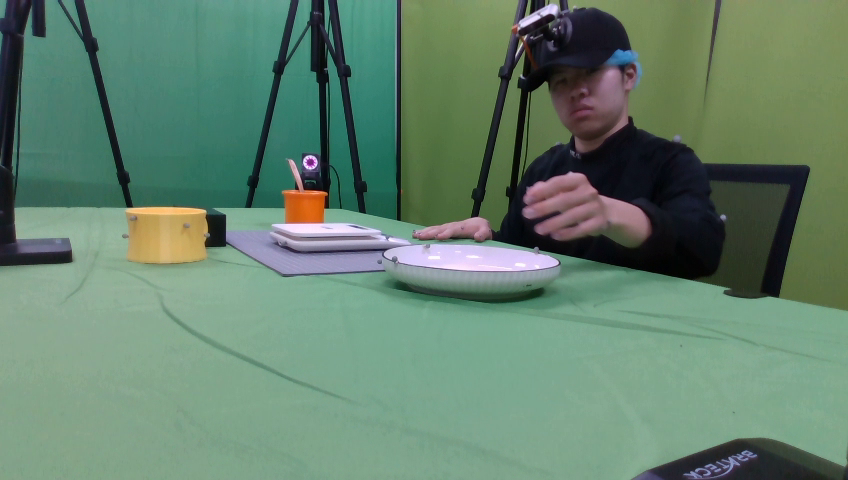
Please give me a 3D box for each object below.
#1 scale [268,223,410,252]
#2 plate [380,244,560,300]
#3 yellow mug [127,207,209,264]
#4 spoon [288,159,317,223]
[{"bbox_3d":[-0.137,-0.006,0.980,0.202,0.031,0.148,-1,8,-30],"label":"scale"},{"bbox_3d":[0.053,0.037,0.708,0.209,0.038,0.209,2,7,0],"label":"plate"},{"bbox_3d":[-0.339,-0.009,0.827,0.100,0.064,0.131,5,7,17],"label":"yellow mug"},{"bbox_3d":[-0.259,-0.103,1.268,0.042,0.193,0.021,3,-39,-33],"label":"spoon"}]
